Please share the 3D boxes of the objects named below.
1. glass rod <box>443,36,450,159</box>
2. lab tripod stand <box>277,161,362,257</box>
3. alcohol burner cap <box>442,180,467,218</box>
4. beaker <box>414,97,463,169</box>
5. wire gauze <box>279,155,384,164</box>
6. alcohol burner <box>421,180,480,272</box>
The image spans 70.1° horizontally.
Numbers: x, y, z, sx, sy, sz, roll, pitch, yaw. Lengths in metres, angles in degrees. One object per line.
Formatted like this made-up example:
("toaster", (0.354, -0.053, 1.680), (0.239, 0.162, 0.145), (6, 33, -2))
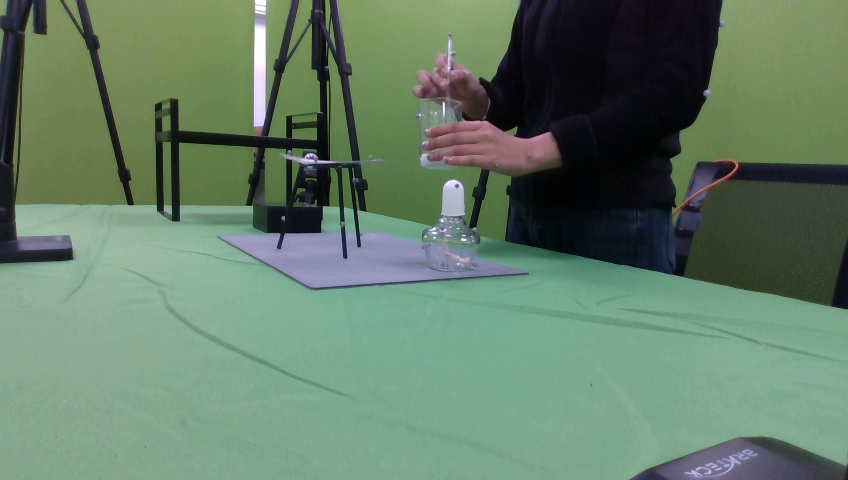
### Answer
("glass rod", (0.036, -0.222, 0.940), (0.008, 0.199, 0.008), (2, -8, 1))
("lab tripod stand", (-0.143, -0.049, 0.884), (0.148, 0.131, 0.148), (1, 9, 0))
("alcohol burner cap", (0.039, -0.053, 0.780), (0.034, 0.048, 0.034), (-1, 11, 1))
("beaker", (0.027, -0.165, 0.943), (0.074, 0.100, 0.083), (0, -2, -44))
("wire gauze", (-0.134, -0.114, 0.875), (0.122, 0.011, 0.124), (-1, 9, -30))
("alcohol burner", (0.036, -0.018, 0.785), (0.078, 0.119, 0.078), (3, 6, 0))
